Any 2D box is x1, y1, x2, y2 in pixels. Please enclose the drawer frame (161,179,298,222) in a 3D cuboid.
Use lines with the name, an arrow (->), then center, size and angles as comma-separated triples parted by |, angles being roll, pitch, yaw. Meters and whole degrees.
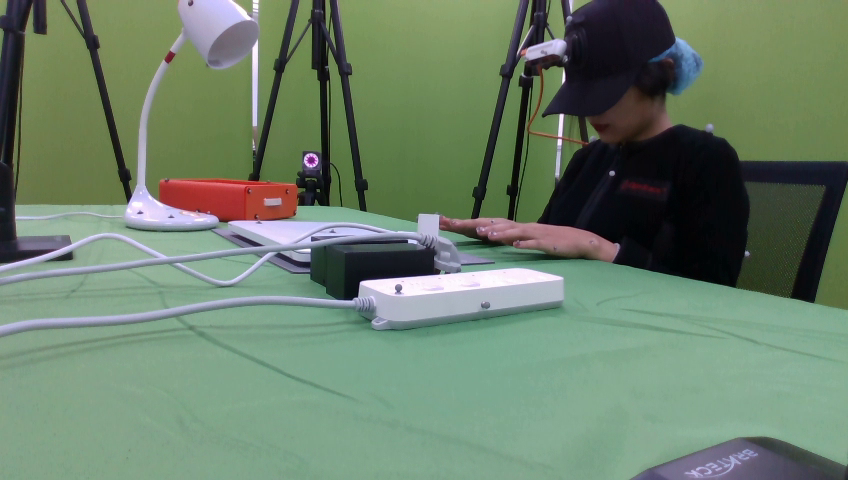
drawer frame -> -0.420, -0.089, 1.328 | 0.213, 0.082, 0.202 | 4, 8, 18

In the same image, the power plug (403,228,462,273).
power plug -> 0.006, 0.016, 0.647 | 0.073, 0.052, 0.035 | 17, 12, -6

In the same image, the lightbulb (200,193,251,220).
lightbulb -> -0.433, -0.079, 1.319 | 0.108, 0.059, 0.059 | -17, 13, -16

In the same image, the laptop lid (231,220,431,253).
laptop lid -> -0.142, -0.009, 0.942 | 0.243, 0.013, 0.355 | 1, 7, -31

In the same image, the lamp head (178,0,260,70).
lamp head -> -0.365, -0.368, 1.038 | 0.123, 0.112, 0.112 | 42, 14, 6

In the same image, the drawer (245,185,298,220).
drawer -> -0.416, -0.087, 1.329 | 0.211, 0.073, 0.195 | 4, 8, 18

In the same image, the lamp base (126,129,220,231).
lamp base -> -0.470, -0.111, 1.105 | 0.179, 0.180, 0.160 | 1, 7, 6

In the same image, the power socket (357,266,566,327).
power socket -> 0.042, 0.049, 0.573 | 0.228, 0.032, 0.072 | -3, 8, -34

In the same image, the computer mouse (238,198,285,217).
computer mouse -> -0.354, -0.072, 1.326 | 0.063, 0.041, 0.117 | 3, 2, 11

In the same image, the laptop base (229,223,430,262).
laptop base -> -0.145, 0.002, 0.943 | 0.237, 0.023, 0.352 | 2, 6, -32

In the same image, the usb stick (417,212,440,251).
usb stick -> 0.005, -0.003, 0.721 | 0.027, 0.059, 0.021 | 0, -3, -2
